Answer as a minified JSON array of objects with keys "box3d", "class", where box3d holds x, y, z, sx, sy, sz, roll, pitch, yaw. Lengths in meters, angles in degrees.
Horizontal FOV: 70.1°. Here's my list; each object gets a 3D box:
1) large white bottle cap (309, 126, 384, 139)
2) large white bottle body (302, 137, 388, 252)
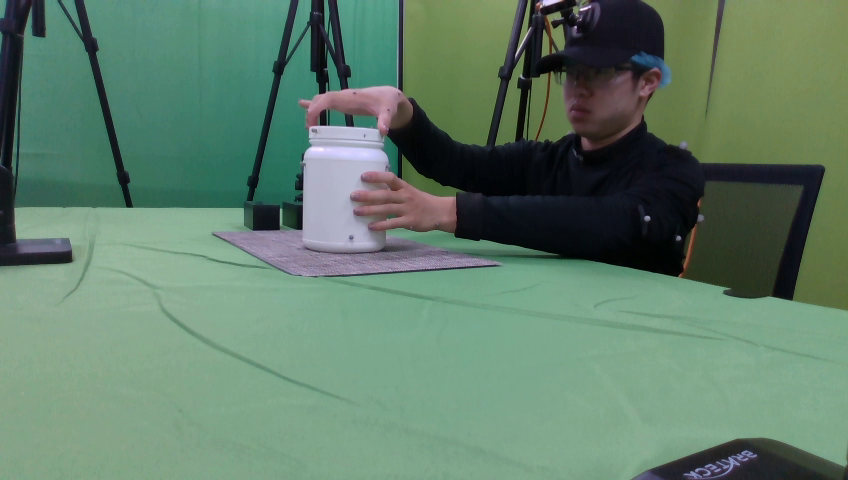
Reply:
[{"box3d":[-0.118,-0.163,0.926,0.115,0.018,0.115,1,7,0],"class":"large white bottle cap"},{"box3d":[-0.122,-0.080,0.937,0.131,0.184,0.130,2,7,0],"class":"large white bottle body"}]
